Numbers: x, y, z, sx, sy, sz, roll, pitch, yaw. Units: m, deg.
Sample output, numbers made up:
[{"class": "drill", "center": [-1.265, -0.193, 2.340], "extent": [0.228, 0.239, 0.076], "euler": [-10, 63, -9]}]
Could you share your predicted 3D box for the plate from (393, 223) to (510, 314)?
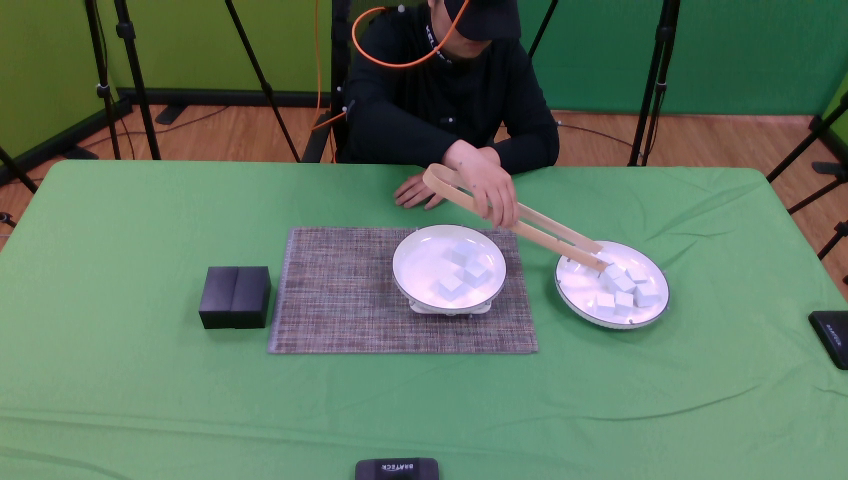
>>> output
[{"class": "plate", "center": [0.048, 0.053, 1.092], "extent": [0.208, 0.039, 0.206], "euler": [1, 46, -1]}]

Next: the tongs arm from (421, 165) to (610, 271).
[{"class": "tongs arm", "center": [0.170, -0.035, 1.089], "extent": [0.386, 0.026, 0.050], "euler": [23, 36, -17]}]

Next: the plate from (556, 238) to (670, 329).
[{"class": "plate", "center": [0.347, 0.083, 1.130], "extent": [0.209, 0.038, 0.208], "euler": [2, 47, -2]}]

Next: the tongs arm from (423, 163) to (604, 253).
[{"class": "tongs arm", "center": [0.172, -0.055, 1.116], "extent": [0.389, 0.028, 0.028], "euler": [24, 39, -16]}]

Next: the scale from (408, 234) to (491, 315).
[{"class": "scale", "center": [0.045, 0.055, 1.135], "extent": [0.149, 0.032, 0.199], "euler": [1, 46, -3]}]
